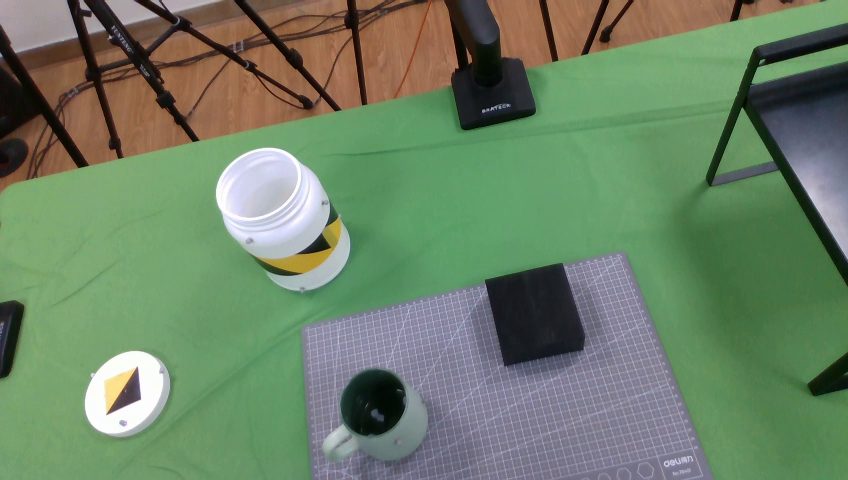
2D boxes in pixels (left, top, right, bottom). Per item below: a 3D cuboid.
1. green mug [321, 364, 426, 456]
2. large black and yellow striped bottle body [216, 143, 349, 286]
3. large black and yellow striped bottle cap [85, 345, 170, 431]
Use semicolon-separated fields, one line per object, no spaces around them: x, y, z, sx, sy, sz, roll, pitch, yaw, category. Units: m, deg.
-0.062;0.207;0.702;0.125;0.106;0.091;-36;62;-10;green mug
-0.186;-0.031;0.811;0.130;0.186;0.129;-4;60;8;large black and yellow striped bottle body
-0.403;0.199;0.823;0.115;0.019;0.114;-5;60;8;large black and yellow striped bottle cap
